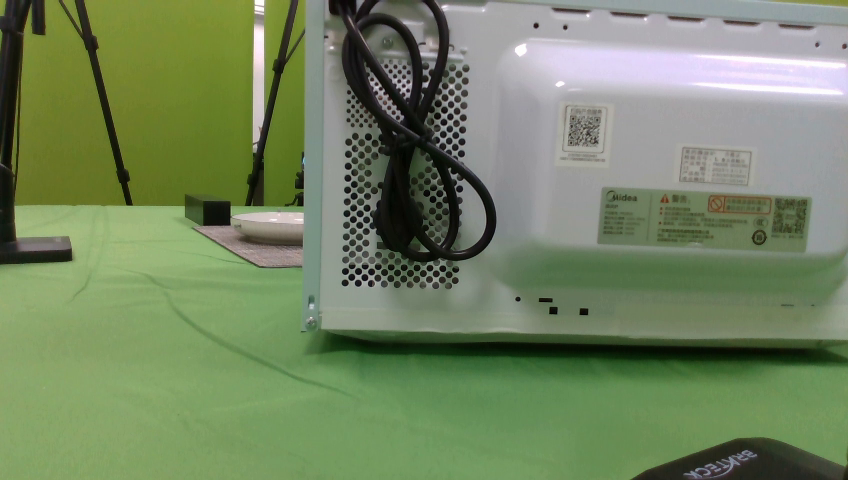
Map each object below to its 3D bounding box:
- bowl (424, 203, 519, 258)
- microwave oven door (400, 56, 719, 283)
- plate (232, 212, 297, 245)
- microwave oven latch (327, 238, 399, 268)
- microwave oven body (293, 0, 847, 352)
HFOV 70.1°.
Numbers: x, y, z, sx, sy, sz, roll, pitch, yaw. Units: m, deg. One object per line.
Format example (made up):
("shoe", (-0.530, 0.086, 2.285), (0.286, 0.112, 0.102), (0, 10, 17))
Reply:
("bowl", (0.073, -0.015, 0.962), (0.151, 0.077, 0.151), (3, 8, 0))
("microwave oven door", (0.155, -0.077, 0.698), (0.356, 0.243, 0.039), (2, 8, -5))
("plate", (-0.214, -0.019, 1.018), (0.208, 0.039, 0.207), (2, 7, 0))
("microwave oven latch", (-0.069, 0.015, 0.694), (0.079, 0.029, 0.030), (3, 7, -3))
("microwave oven body", (0.122, -0.055, 0.550), (0.442, 0.260, 0.325), (3, 7, -5))
